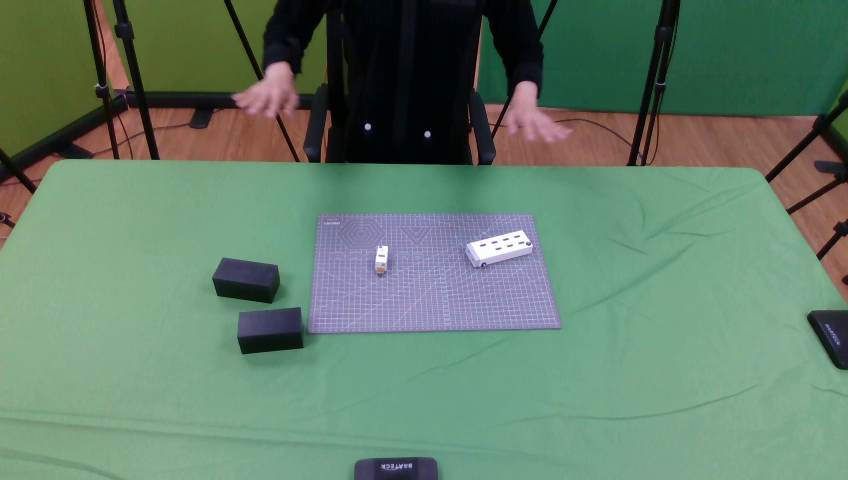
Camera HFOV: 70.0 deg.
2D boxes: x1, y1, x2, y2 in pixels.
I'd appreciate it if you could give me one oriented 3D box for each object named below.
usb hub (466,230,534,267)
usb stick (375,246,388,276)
[{"bbox_3d":[0.148,0.017,1.185,0.125,0.025,0.049,-14,49,-16],"label":"usb hub"},{"bbox_3d":[-0.081,0.040,1.146,0.021,0.027,0.059,6,48,-1],"label":"usb stick"}]
